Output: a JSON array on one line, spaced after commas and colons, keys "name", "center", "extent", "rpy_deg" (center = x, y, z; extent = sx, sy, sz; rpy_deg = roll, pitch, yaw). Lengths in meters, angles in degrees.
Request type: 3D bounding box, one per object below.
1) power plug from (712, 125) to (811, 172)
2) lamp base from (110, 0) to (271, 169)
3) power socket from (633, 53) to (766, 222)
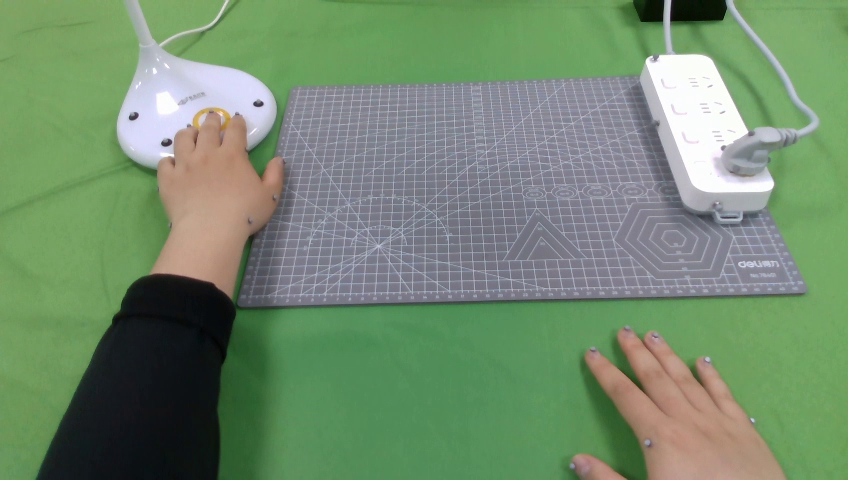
[{"name": "power plug", "center": [0.285, -0.070, 0.516], "extent": [0.072, 0.053, 0.035], "rpy_deg": [9, 50, 8]}, {"name": "lamp base", "center": [-0.252, -0.186, 0.575], "extent": [0.177, 0.182, 0.160], "rpy_deg": [29, 56, 28]}, {"name": "power socket", "center": [0.257, -0.110, 0.583], "extent": [0.072, 0.033, 0.224], "rpy_deg": [1, 49, 1]}]
